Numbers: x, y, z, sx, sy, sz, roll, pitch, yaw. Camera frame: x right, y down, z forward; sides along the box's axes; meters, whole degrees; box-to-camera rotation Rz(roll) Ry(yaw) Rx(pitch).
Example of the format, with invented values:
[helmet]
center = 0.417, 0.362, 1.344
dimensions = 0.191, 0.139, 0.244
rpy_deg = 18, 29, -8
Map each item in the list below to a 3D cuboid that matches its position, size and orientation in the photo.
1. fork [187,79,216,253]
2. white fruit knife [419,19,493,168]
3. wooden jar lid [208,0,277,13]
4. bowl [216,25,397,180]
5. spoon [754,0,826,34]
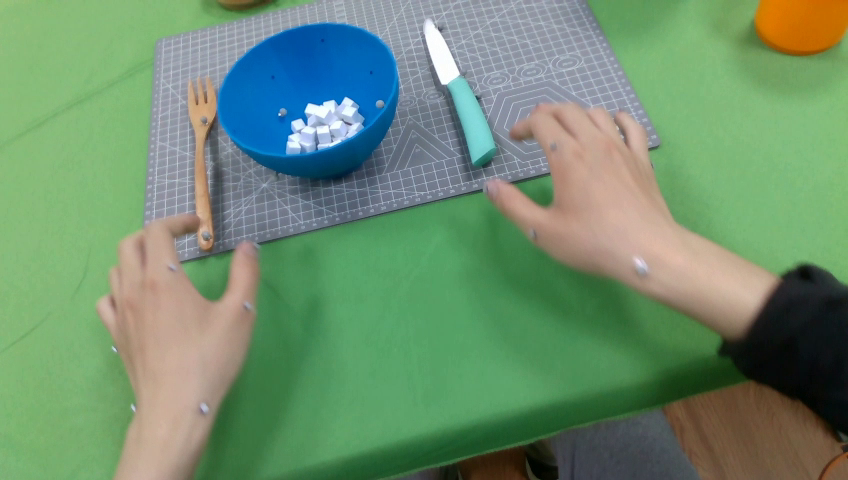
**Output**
[fork]
center = -0.204, -0.074, 0.556
dimensions = 0.028, 0.019, 0.205
rpy_deg = -10, 55, -7
[white fruit knife]
center = 0.026, -0.146, 0.567
dimensions = 0.027, 0.016, 0.205
rpy_deg = -9, 56, -13
[wooden jar lid]
center = -0.201, -0.300, 0.696
dimensions = 0.108, 0.021, 0.107
rpy_deg = -3, 59, 5
[bowl]
center = -0.091, -0.104, 0.523
dimensions = 0.151, 0.077, 0.150
rpy_deg = -4, 58, 7
[spoon]
center = 0.369, -0.235, 0.495
dimensions = 0.022, 0.194, 0.041
rpy_deg = 16, 55, -34
